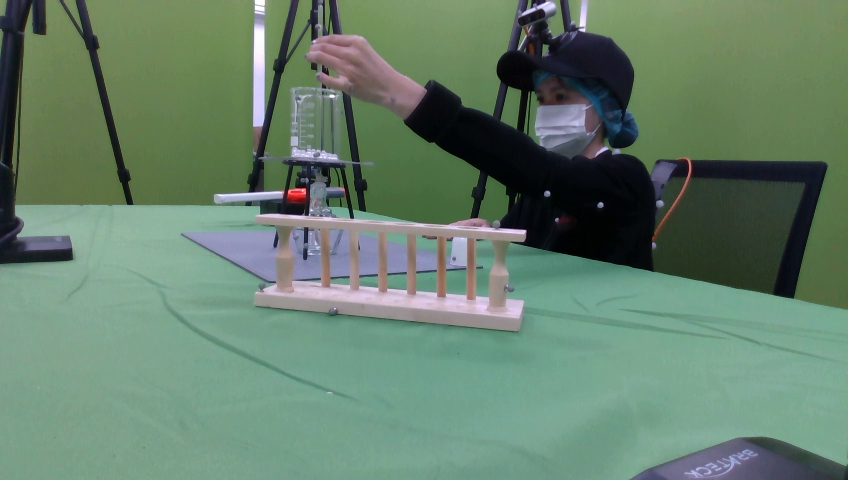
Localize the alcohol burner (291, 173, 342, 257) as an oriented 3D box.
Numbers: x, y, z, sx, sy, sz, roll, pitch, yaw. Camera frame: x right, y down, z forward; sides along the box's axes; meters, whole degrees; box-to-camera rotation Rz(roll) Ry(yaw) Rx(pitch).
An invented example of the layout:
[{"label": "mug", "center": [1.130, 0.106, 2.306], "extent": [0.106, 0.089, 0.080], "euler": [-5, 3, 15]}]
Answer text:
[{"label": "alcohol burner", "center": [-0.155, -0.037, 0.870], "extent": [0.078, 0.119, 0.078], "euler": [1, 6, 0]}]

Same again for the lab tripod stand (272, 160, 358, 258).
[{"label": "lab tripod stand", "center": [-0.159, -0.048, 0.876], "extent": [0.148, 0.131, 0.148], "euler": [3, 5, 0]}]

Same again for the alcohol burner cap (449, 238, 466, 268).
[{"label": "alcohol burner cap", "center": [0.051, 0.015, 0.827], "extent": [0.034, 0.048, 0.034], "euler": [2, 5, 0]}]

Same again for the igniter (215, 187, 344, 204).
[{"label": "igniter", "center": [-0.289, -0.093, 1.255], "extent": [0.278, 0.025, 0.057], "euler": [-6, 12, -34]}]

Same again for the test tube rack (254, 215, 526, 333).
[{"label": "test tube rack", "center": [-0.030, 0.025, 0.558], "extent": [0.242, 0.085, 0.067], "euler": [4, 7, 12]}]

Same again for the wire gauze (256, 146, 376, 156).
[{"label": "wire gauze", "center": [-0.155, -0.128, 0.871], "extent": [0.124, 0.011, 0.122], "euler": [2, 7, 36]}]

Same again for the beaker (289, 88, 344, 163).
[{"label": "beaker", "center": [-0.157, -0.160, 0.862], "extent": [0.083, 0.100, 0.074], "euler": [7, 7, 34]}]

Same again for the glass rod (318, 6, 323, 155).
[{"label": "glass rod", "center": [-0.143, -0.218, 0.834], "extent": [0.008, 0.199, 0.008], "euler": [2, 10, 0]}]
